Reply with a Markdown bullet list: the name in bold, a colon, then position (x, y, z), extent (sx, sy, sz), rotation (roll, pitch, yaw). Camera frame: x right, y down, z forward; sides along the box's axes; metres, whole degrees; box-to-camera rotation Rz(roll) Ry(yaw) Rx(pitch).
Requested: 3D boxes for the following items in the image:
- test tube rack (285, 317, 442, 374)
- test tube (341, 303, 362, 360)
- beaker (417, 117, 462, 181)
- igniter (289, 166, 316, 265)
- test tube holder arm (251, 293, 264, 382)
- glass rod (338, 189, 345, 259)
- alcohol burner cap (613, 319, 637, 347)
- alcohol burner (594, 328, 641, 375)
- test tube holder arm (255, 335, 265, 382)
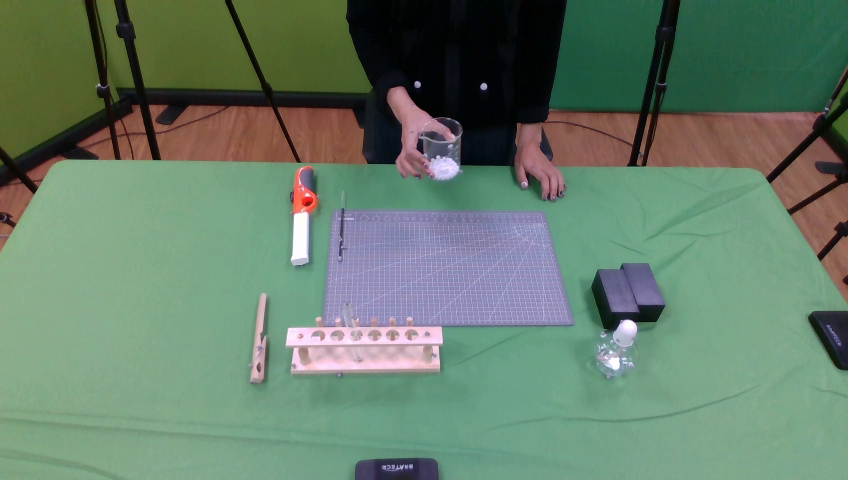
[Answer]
- **test tube rack**: position (-0.095, 0.166, 0.988), extent (0.242, 0.085, 0.066), rotation (0, 46, -4)
- **test tube**: position (-0.111, 0.145, 0.938), extent (0.017, 0.151, 0.017), rotation (-1, 50, 2)
- **beaker**: position (0.029, -0.168, 1.138), extent (0.084, 0.101, 0.073), rotation (-13, 50, -9)
- **igniter**: position (-0.248, -0.058, 1.233), extent (0.057, 0.025, 0.274), rotation (-9, 47, 1)
- **test tube holder arm**: position (-0.281, 0.160, 1.025), extent (0.013, 0.015, 0.177), rotation (23, 36, -32)
- **glass rod**: position (-0.166, -0.037, 1.226), extent (0.008, 0.008, 0.198), rotation (-1, 47, -4)
- **alcohol burner cap**: position (0.323, 0.146, 0.966), extent (0.034, 0.048, 0.033), rotation (-1, 52, 2)
- **alcohol burner**: position (0.322, 0.170, 0.994), extent (0.078, 0.119, 0.077), rotation (3, 48, -3)
- **test tube holder arm**: position (-0.270, 0.193, 0.997), extent (0.010, 0.015, 0.087), rotation (23, 36, -32)
